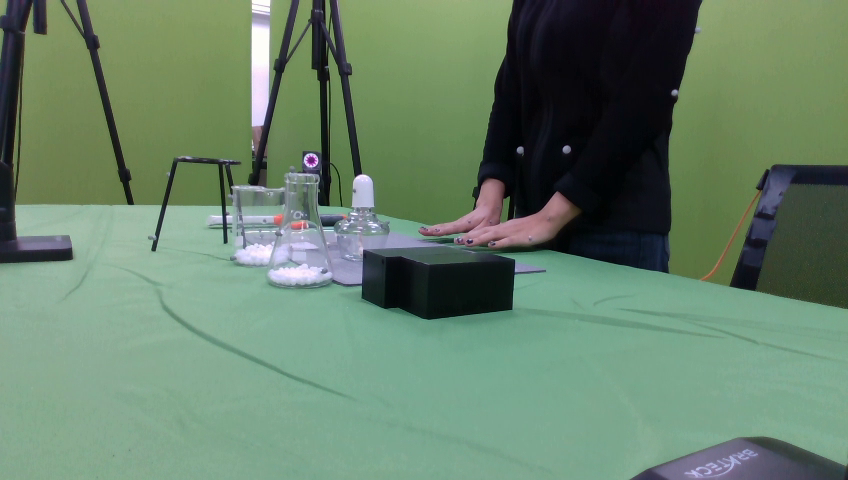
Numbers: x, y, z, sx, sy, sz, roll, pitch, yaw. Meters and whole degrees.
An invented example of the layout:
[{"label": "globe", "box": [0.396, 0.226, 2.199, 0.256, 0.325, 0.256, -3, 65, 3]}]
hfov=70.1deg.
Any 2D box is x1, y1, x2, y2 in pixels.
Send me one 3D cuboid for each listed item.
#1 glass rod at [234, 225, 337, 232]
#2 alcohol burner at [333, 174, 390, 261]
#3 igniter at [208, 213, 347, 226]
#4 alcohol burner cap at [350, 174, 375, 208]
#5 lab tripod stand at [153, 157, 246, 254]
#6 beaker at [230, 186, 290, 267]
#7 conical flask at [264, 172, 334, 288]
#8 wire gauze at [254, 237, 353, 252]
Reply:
[{"label": "glass rod", "box": [-0.256, -0.022, 1.136, 0.201, 0.008, 0.008, -3, 8, -33]}, {"label": "alcohol burner", "box": [-0.085, -0.031, 0.832, 0.078, 0.119, 0.078, 3, 5, 0]}, {"label": "igniter", "box": [-0.283, -0.041, 1.200, 0.278, 0.025, 0.057, -2, -2, -34]}, {"label": "alcohol burner cap", "box": [-0.085, -0.067, 0.829, 0.034, 0.048, 0.034, 0, 2, 0]}, {"label": "lab tripod stand", "box": [-0.305, -0.051, 0.865, 0.148, 0.131, 0.148, 4, 7, 0]}, {"label": "beaker", "box": [-0.209, -0.019, 0.778, 0.074, 0.100, 0.084, 3, 7, 4]}, {"label": "conical flask", "box": [-0.136, -0.013, 0.660, 0.075, 0.122, 0.075, 2, 7, 0]}, {"label": "wire gauze", "box": [-0.188, 0.004, 0.940, 0.122, 0.011, 0.124, -2, 6, -34]}]
